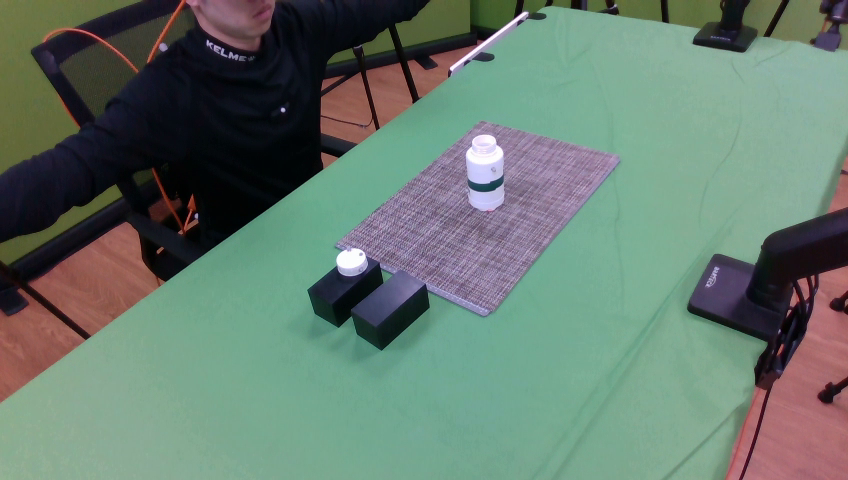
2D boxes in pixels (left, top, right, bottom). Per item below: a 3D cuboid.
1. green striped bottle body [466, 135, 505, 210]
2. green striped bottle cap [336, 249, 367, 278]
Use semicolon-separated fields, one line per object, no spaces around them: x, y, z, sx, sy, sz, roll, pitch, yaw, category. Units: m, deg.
0.102;-0.114;1.006;0.063;0.120;0.063;-4;40;4;green striped bottle body
-0.105;0.033;0.873;0.044;0.020;0.044;-5;42;5;green striped bottle cap
